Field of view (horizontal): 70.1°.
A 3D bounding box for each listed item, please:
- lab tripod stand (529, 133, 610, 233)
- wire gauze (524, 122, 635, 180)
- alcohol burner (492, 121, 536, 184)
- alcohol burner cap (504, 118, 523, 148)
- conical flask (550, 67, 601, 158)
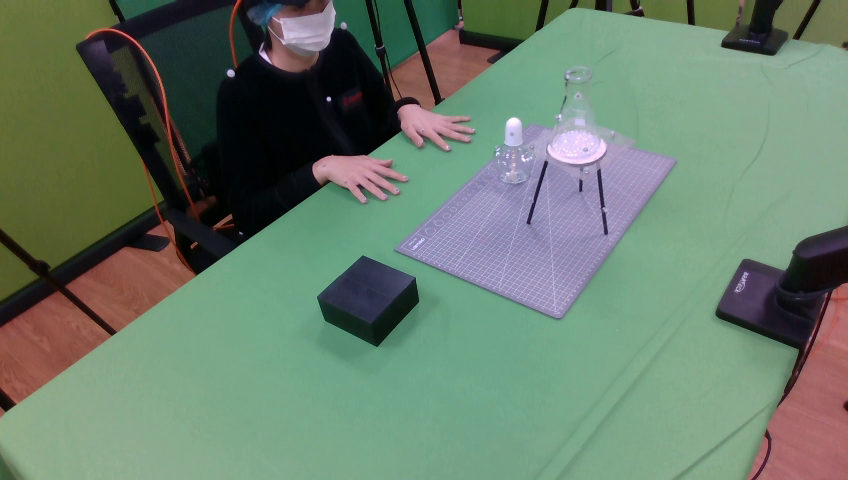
[{"bbox_3d":[0.236,-0.089,0.953,0.148,0.132,0.147,-5,42,5],"label":"lab tripod stand"},{"bbox_3d":[0.233,-0.142,0.913,0.122,0.011,0.124,-31,42,-26],"label":"wire gauze"},{"bbox_3d":[0.159,-0.158,1.064,0.078,0.119,0.077,-3,41,3],"label":"alcohol burner"},{"bbox_3d":[0.154,-0.186,1.042,0.034,0.048,0.033,-4,33,3],"label":"alcohol burner cap"},{"bbox_3d":[0.221,-0.186,0.875,0.075,0.122,0.075,-5,40,5],"label":"conical flask"}]
